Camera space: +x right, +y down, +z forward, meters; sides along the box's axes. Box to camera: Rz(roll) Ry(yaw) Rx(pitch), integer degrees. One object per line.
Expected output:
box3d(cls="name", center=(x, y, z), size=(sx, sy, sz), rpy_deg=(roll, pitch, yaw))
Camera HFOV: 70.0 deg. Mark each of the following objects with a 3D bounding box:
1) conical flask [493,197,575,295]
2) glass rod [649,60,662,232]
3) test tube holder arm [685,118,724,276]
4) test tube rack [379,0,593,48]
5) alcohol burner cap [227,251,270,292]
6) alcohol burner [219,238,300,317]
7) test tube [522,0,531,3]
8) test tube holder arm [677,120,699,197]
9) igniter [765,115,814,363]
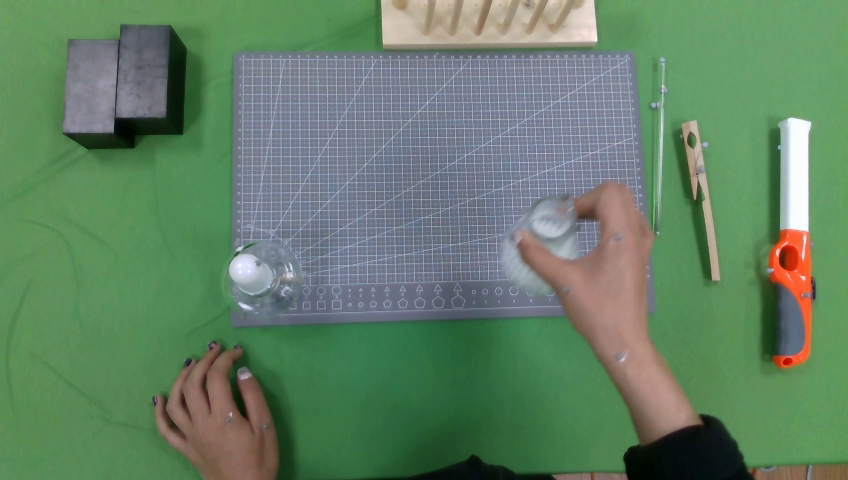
box3d(cls="conical flask", center=(0.096, 0.001, 0.511), size=(0.075, 0.122, 0.075), rpy_deg=(-1, 75, 5))
box3d(cls="glass rod", center=(0.260, -0.107, 0.682), size=(0.008, 0.008, 0.199), rpy_deg=(5, 84, -3))
box3d(cls="test tube holder arm", center=(0.309, -0.048, 0.670), size=(0.013, 0.015, 0.178), rpy_deg=(-14, 81, 31))
box3d(cls="test tube rack", center=(0.072, -0.260, 0.653), size=(0.242, 0.085, 0.066), rpy_deg=(-2, 82, -4))
box3d(cls="alcohol burner cap", center=(-0.159, 0.026, 0.544), size=(0.034, 0.048, 0.033), rpy_deg=(1, 73, -3))
box3d(cls="alcohol burner", center=(-0.161, 0.033, 0.579), size=(0.078, 0.119, 0.077), rpy_deg=(0, 80, -2))
box3d(cls="test tube", center=(0.114, -0.286, 0.610), size=(0.017, 0.151, 0.017), rpy_deg=(0, 79, 1))
box3d(cls="test tube holder arm", center=(0.298, -0.091, 0.679), size=(0.010, 0.015, 0.087), rpy_deg=(-13, 82, 31))
box3d(cls="igniter", center=(0.403, -0.003, 0.667), size=(0.057, 0.025, 0.275), rpy_deg=(8, 81, -12))
